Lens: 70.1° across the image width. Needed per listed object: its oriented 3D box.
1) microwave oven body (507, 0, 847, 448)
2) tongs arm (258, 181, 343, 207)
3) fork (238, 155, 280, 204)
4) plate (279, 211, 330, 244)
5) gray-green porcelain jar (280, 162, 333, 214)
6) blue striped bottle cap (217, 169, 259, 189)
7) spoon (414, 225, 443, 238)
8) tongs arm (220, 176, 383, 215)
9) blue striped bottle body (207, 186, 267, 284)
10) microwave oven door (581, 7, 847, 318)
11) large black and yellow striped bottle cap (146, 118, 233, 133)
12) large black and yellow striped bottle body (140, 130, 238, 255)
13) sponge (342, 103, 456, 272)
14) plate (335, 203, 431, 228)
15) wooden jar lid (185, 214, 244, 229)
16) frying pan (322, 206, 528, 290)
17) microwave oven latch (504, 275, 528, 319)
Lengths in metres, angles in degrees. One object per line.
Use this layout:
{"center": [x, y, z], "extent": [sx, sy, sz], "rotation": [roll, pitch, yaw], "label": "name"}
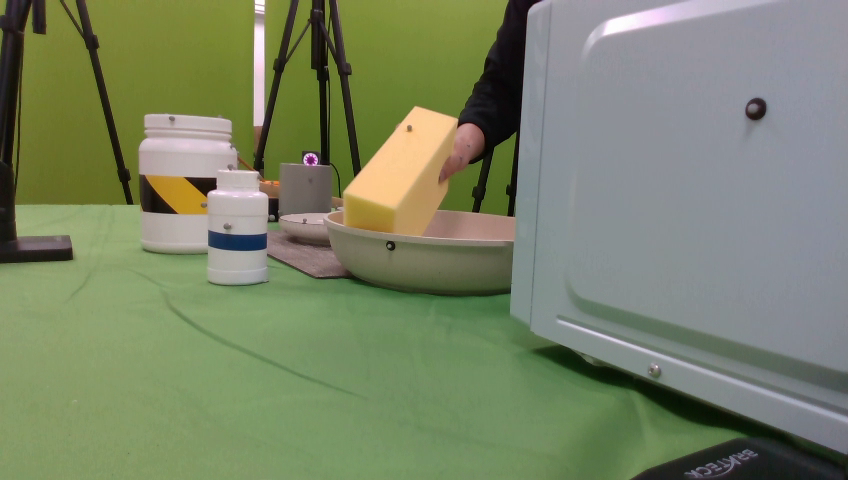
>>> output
{"center": [0.331, -0.042, 0.425], "extent": [0.444, 0.260, 0.324], "rotation": [-2, 8, -31], "label": "microwave oven body"}
{"center": [-0.241, -0.095, 1.373], "extent": [0.387, 0.026, 0.050], "rotation": [9, 0, -37], "label": "tongs arm"}
{"center": [-0.396, -0.143, 1.486], "extent": [0.028, 0.018, 0.208], "rotation": [20, -26, 45], "label": "fork"}
{"center": [-0.139, -0.022, 1.021], "extent": [0.209, 0.038, 0.209], "rotation": [2, 8, 0], "label": "plate"}
{"center": [-0.238, -0.092, 1.221], "extent": [0.106, 0.126, 0.106], "rotation": [2, 7, 0], "label": "gray-green porcelain jar"}
{"center": [-0.202, -0.067, 0.656], "extent": [0.044, 0.020, 0.044], "rotation": [0, 10, 0], "label": "blue striped bottle cap"}
{"center": [0.016, -0.019, 1.113], "extent": [0.041, 0.021, 0.194], "rotation": [-15, 3, 12], "label": "spoon"}
{"center": [-0.285, -0.103, 1.445], "extent": [0.389, 0.027, 0.028], "rotation": [9, -4, -23], "label": "tongs arm"}
{"center": [-0.204, -0.016, 0.663], "extent": [0.063, 0.120, 0.063], "rotation": [2, 7, 0], "label": "blue striped bottle body"}
{"center": [0.295, -0.067, 0.569], "extent": [0.358, 0.243, 0.039], "rotation": [-3, 8, -31], "label": "microwave oven door"}
{"center": [-0.333, -0.163, 0.861], "extent": [0.115, 0.019, 0.115], "rotation": [1, 9, 0], "label": "large black and yellow striped bottle cap"}
{"center": [-0.336, -0.078, 0.871], "extent": [0.131, 0.184, 0.130], "rotation": [2, 8, 0], "label": "large black and yellow striped bottle body"}
{"center": [-0.026, -0.062, 0.727], "extent": [0.061, 0.118, 0.207], "rotation": [18, 43, 11], "label": "sponge"}
{"center": [-0.089, -0.053, 1.309], "extent": [0.208, 0.039, 0.207], "rotation": [2, 8, 0], "label": "plate"}
{"center": [-0.404, -0.037, 1.169], "extent": [0.108, 0.020, 0.108], "rotation": [3, 7, 0], "label": "wooden jar lid"}
{"center": [0.109, -0.018, 0.800], "extent": [0.490, 0.102, 0.305], "rotation": [-12, 16, -30], "label": "frying pan"}
{"center": [0.100, 0.042, 0.471], "extent": [0.079, 0.029, 0.030], "rotation": [-1, 7, -28], "label": "microwave oven latch"}
